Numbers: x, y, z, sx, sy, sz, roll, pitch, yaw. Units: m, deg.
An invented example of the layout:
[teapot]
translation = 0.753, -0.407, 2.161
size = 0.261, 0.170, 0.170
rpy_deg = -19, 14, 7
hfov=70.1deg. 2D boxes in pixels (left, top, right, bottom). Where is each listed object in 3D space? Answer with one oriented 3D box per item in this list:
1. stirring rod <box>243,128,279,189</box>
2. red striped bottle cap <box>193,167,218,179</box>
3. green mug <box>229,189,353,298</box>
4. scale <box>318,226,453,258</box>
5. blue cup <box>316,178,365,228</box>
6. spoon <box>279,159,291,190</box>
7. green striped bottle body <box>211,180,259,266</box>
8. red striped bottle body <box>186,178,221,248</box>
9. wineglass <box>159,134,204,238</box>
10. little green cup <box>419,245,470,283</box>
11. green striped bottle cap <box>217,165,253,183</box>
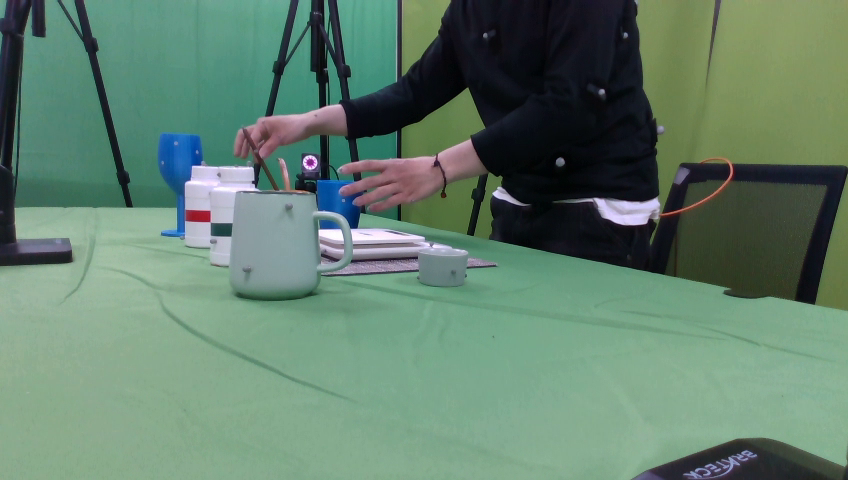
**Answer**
[stirring rod]
translation = -0.315, -0.143, 1.207
size = 0.006, 0.176, 0.014
rpy_deg = -20, 23, 9
[red striped bottle cap]
translation = -0.329, -0.102, 0.921
size = 0.044, 0.017, 0.044
rpy_deg = 0, 8, 0
[green mug]
translation = -0.135, 0.002, 0.618
size = 0.125, 0.105, 0.092
rpy_deg = 2, 7, 4
[scale]
translation = -0.066, 0.001, 0.906
size = 0.202, 0.031, 0.148
rpy_deg = -2, 8, -31
[blue cup]
translation = -0.150, -0.057, 1.072
size = 0.093, 0.100, 0.092
rpy_deg = 3, 7, 0
[spoon]
translation = -0.281, -0.103, 1.251
size = 0.042, 0.193, 0.021
rpy_deg = 4, -39, -27
[green striped bottle body]
translation = -0.243, -0.029, 0.784
size = 0.063, 0.119, 0.063
rpy_deg = 2, 7, 0
[red striped bottle body]
translation = -0.331, -0.050, 0.927
size = 0.063, 0.119, 0.063
rpy_deg = 2, 6, 0
[wineglass]
translation = -0.415, -0.093, 1.040
size = 0.074, 0.172, 0.073
rpy_deg = 2, 7, 0
[little green cup]
translation = 0.023, 0.028, 0.712
size = 0.061, 0.038, 0.061
rpy_deg = 2, 6, 0
[green striped bottle cap]
translation = -0.242, -0.085, 0.777
size = 0.044, 0.020, 0.044
rpy_deg = 2, 9, 0
